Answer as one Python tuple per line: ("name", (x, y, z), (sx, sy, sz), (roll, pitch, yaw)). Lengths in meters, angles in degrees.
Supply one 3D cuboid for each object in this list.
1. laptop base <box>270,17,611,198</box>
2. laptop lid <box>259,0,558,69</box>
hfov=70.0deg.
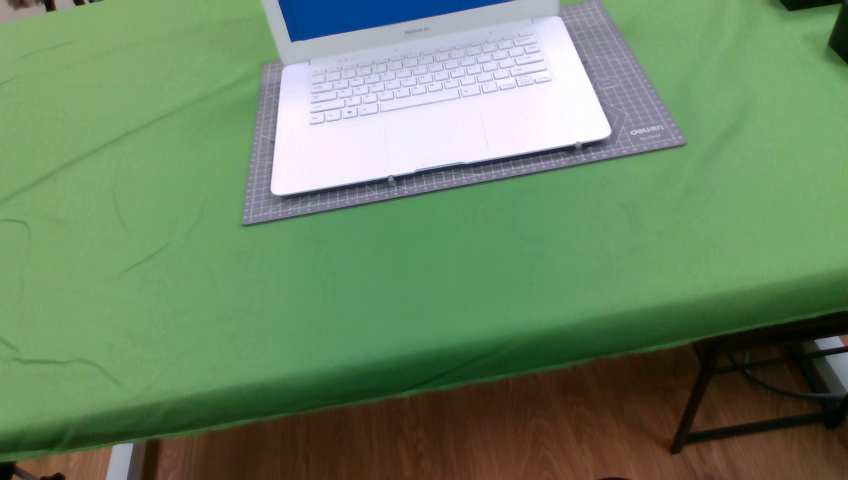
("laptop base", (0.005, -0.155, 0.688), (0.354, 0.023, 0.233), (-10, 51, 3))
("laptop lid", (-0.026, -0.331, 0.688), (0.356, 0.244, 0.013), (-11, 40, 4))
